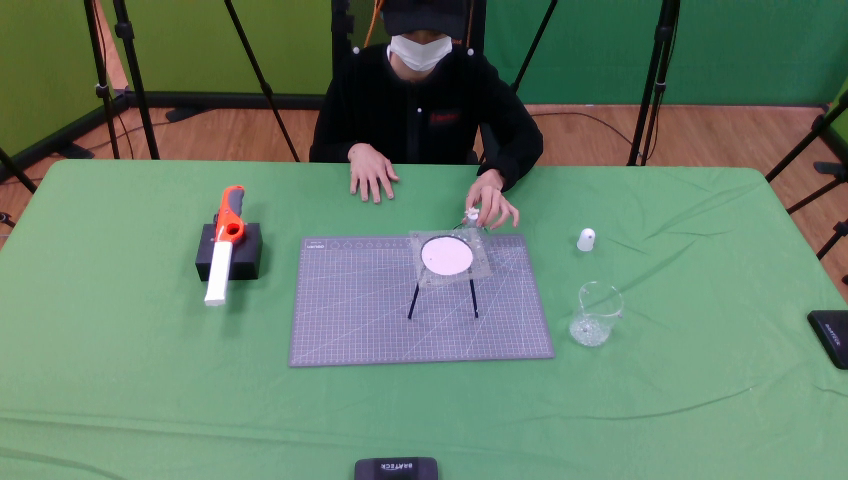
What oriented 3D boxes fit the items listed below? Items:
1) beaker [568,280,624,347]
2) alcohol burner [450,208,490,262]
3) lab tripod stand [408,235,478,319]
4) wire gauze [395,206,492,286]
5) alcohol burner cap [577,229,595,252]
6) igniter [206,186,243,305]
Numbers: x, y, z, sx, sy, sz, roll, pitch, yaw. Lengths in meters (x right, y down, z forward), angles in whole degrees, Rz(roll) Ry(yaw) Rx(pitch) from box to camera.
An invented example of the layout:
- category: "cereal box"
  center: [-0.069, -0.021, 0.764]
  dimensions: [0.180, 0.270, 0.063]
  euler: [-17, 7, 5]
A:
- category: "beaker"
  center: [0.290, 0.132, 1.041]
  dimensions: [0.084, 0.101, 0.073]
  euler: [-34, 57, -30]
- category: "alcohol burner"
  center: [0.088, -0.015, 1.153]
  dimensions: [0.078, 0.120, 0.077]
  euler: [1, 47, -1]
- category: "lab tripod stand"
  center: [0.032, 0.065, 1.057]
  dimensions: [0.148, 0.132, 0.147]
  euler: [1, 45, -1]
- category: "wire gauze"
  center: [0.031, 0.010, 0.993]
  dimensions: [0.125, 0.011, 0.120]
  euler: [-24, 57, -17]
- category: "alcohol burner cap"
  center: [0.326, -0.002, 1.213]
  dimensions: [0.034, 0.048, 0.033]
  euler: [1, 48, -1]
- category: "igniter"
  center: [-0.361, 0.001, 1.100]
  dimensions: [0.057, 0.025, 0.274]
  euler: [-2, 49, -6]
